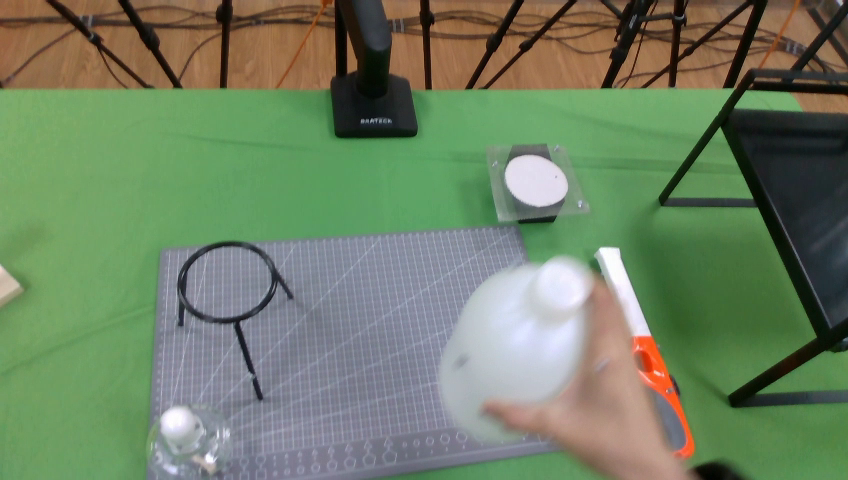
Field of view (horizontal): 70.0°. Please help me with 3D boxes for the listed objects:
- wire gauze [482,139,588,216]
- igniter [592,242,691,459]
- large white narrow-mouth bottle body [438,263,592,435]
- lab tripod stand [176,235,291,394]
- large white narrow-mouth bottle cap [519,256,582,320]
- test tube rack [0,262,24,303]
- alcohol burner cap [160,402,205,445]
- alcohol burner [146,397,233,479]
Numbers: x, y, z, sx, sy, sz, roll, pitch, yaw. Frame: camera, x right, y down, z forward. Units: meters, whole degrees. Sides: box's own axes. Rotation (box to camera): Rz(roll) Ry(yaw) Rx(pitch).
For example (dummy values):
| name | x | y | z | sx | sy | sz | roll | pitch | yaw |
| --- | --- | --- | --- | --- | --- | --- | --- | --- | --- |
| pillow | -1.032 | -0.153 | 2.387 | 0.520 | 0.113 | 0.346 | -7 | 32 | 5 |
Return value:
| name | x | y | z | sx | sy | sz | roll | pitch | yaw |
| --- | --- | --- | --- | --- | --- | --- | --- | --- | --- |
| wire gauze | 0.143 | -0.087 | 0.798 | 0.122 | 0.011 | 0.124 | -3 | 59 | -11 |
| igniter | 0.258 | 0.121 | 0.729 | 0.057 | 0.025 | 0.274 | 2 | 57 | -20 |
| large white narrow-mouth bottle body | 0.071 | 0.077 | 0.462 | 0.102 | 0.196 | 0.101 | 4 | 58 | -6 |
| lab tripod stand | -0.191 | 0.070 | 0.622 | 0.149 | 0.132 | 0.147 | 5 | 57 | -8 |
| large white narrow-mouth bottle cap | 0.081 | 0.031 | 0.390 | 0.038 | 0.024 | 0.037 | 4 | 58 | -6 |
| test tube rack | -0.541 | 0.082 | 0.589 | 0.066 | 0.086 | 0.242 | 38 | 59 | 15 |
| alcohol burner cap | -0.213 | 0.159 | 0.530 | 0.034 | 0.048 | 0.033 | 4 | 63 | -7 |
| alcohol burner | -0.218 | 0.178 | 0.560 | 0.078 | 0.120 | 0.077 | 5 | 55 | -7 |
